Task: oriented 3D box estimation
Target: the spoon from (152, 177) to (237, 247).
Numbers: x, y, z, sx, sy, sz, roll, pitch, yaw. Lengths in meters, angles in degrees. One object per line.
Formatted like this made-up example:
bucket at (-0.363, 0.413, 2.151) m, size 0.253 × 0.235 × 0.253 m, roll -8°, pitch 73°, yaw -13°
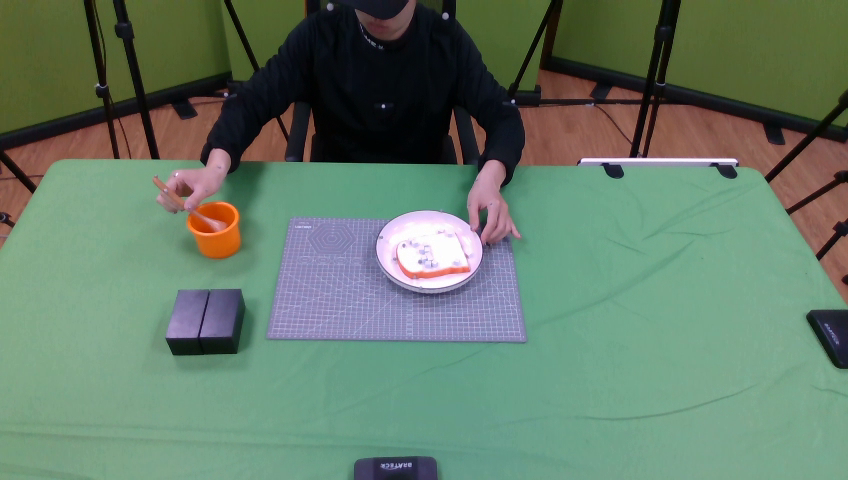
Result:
spoon at (-0.416, -0.050, 1.106) m, size 0.021 × 0.195 × 0.041 m, roll -20°, pitch 43°, yaw 36°

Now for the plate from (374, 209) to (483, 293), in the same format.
plate at (0.009, 0.024, 1.160) m, size 0.209 × 0.038 × 0.208 m, roll 2°, pitch 46°, yaw -2°

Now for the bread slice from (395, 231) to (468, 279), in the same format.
bread slice at (0.011, 0.030, 1.159) m, size 0.132 × 0.019 × 0.104 m, roll -8°, pitch 47°, yaw -14°
